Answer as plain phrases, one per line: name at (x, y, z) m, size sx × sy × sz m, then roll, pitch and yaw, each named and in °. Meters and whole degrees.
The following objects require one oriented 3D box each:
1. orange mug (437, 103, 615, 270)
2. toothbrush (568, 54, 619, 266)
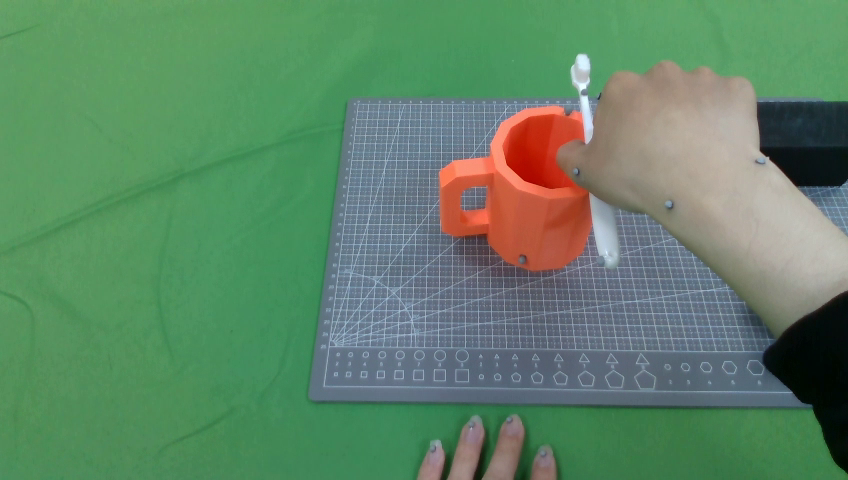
orange mug at (0.072, -0.037, 0.457) m, size 0.126 × 0.101 × 0.082 m, roll -5°, pitch 57°, yaw -6°
toothbrush at (0.114, -0.061, 0.409) m, size 0.014 × 0.017 × 0.180 m, roll 4°, pitch 57°, yaw -3°
